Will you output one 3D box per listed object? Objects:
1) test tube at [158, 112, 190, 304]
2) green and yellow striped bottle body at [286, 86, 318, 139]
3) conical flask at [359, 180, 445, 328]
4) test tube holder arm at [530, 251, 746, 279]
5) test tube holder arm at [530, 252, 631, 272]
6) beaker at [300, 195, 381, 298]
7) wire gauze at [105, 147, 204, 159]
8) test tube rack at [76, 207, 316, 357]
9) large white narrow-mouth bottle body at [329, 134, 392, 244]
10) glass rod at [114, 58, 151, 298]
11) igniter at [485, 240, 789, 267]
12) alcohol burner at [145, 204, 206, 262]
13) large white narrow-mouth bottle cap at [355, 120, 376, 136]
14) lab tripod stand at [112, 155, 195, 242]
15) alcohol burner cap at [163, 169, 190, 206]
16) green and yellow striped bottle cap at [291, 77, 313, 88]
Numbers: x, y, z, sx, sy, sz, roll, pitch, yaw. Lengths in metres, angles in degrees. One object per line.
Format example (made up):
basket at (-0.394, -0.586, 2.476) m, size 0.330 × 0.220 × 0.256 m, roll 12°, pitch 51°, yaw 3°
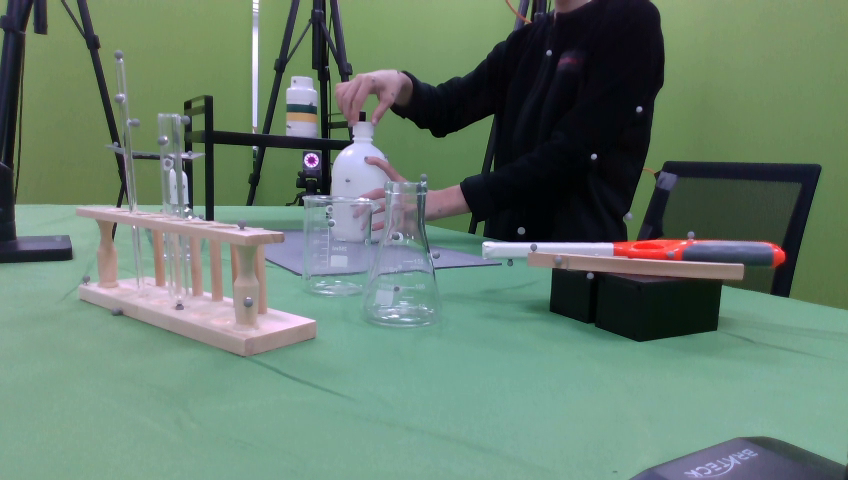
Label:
test tube at (-0.194, -0.022, 0.469) m, size 0.017 × 0.150 × 0.017 m, roll 2°, pitch 12°, yaw 0°
green and yellow striped bottle body at (-0.251, -0.270, 1.245) m, size 0.063 × 0.119 × 0.063 m, roll 2°, pitch 7°, yaw 0°
conical flask at (-0.017, 0.010, 0.522) m, size 0.075 × 0.122 × 0.075 m, roll 2°, pitch 7°, yaw 0°
test tube holder arm at (0.182, 0.022, 0.524) m, size 0.178 × 0.015 × 0.013 m, roll 3°, pitch 6°, yaw 11°
test tube holder arm at (0.139, 0.019, 0.538) m, size 0.087 × 0.015 × 0.010 m, roll 3°, pitch 6°, yaw 13°
beaker at (-0.087, 0.006, 0.626) m, size 0.084 × 0.100 × 0.074 m, roll 1°, pitch 8°, yaw -17°
wire gauze at (-0.407, -0.131, 0.928) m, size 0.125 × 0.011 × 0.121 m, roll 2°, pitch 6°, yaw -11°
test tube rack at (-0.196, 0.023, 0.500) m, size 0.241 × 0.085 × 0.067 m, roll 8°, pitch 9°, yaw 36°
large white narrow-mouth bottle body at (-0.106, -0.095, 1.027) m, size 0.102 × 0.194 × 0.102 m, roll 4°, pitch 7°, yaw 0°
glass rod at (-0.236, -0.044, 0.492) m, size 0.008 × 0.199 × 0.008 m, roll 0°, pitch 15°, yaw 0°
igniter at (0.197, 0.012, 0.585) m, size 0.276 × 0.025 × 0.057 m, roll 1°, pitch 5°, yaw 12°
alcohol burner at (-0.321, -0.032, 0.788) m, size 0.078 × 0.119 × 0.078 m, roll 1°, pitch 7°, yaw 0°
large white narrow-mouth bottle cap at (-0.098, -0.188, 1.015) m, size 0.038 × 0.024 × 0.037 m, roll 4°, pitch 7°, yaw 0°
lab tripod stand at (-0.405, -0.064, 0.931) m, size 0.148 × 0.131 × 0.148 m, roll 1°, pitch 7°, yaw 0°
alcohol burner cap at (-0.320, -0.067, 0.782) m, size 0.034 × 0.048 × 0.034 m, roll 1°, pitch 7°, yaw 0°
green and yellow striped bottle cap at (-0.250, -0.321, 1.238) m, size 0.045 × 0.020 × 0.045 m, roll 3°, pitch 6°, yaw 0°
